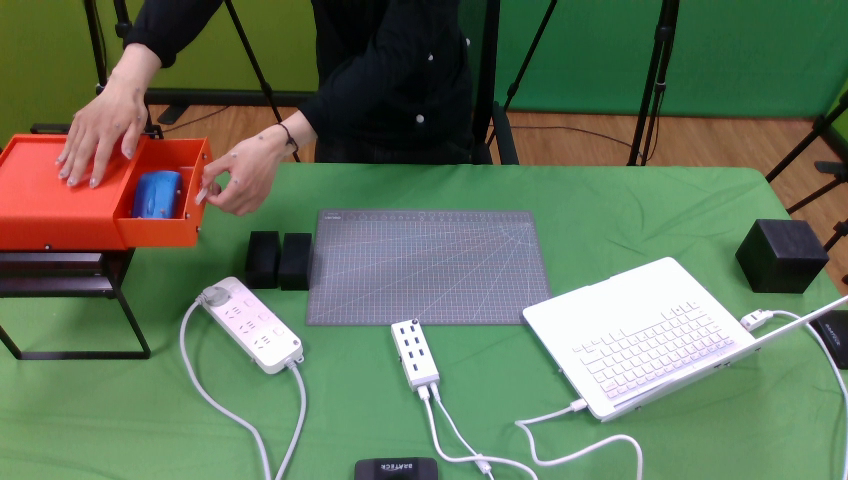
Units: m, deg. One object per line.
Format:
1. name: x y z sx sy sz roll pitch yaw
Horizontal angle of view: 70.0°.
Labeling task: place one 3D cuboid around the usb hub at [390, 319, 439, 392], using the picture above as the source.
1. usb hub: -0.016 0.190 1.013 0.049 0.025 0.124 -11 48 -15

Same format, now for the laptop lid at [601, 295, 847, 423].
1. laptop lid: 0.449 0.180 0.905 0.357 0.242 0.013 -17 64 -20

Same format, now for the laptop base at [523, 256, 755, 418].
1. laptop base: 0.380 0.159 1.077 0.355 0.023 0.234 -17 47 -20

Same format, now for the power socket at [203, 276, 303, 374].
1. power socket: -0.296 0.141 1.034 0.225 0.033 0.072 38 55 27

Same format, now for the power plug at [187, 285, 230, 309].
1. power plug: -0.370 0.103 1.039 0.072 0.053 0.035 -25 53 -23

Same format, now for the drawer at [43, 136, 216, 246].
1. drawer: -0.451 -0.080 0.951 0.212 0.073 0.193 -1 47 -5

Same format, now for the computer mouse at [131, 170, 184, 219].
1. computer mouse: -0.423 -0.069 0.963 0.063 0.041 0.116 1 51 -8

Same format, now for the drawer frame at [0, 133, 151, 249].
1. drawer frame: -0.547 -0.078 0.942 0.214 0.083 0.200 -1 47 -4

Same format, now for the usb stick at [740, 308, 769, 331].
1. usb stick: 0.587 0.146 1.088 0.059 0.027 0.021 -21 48 -17
